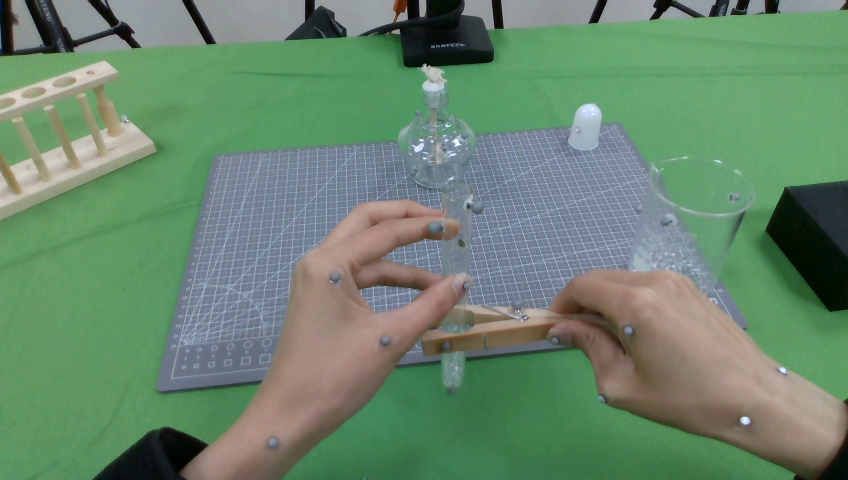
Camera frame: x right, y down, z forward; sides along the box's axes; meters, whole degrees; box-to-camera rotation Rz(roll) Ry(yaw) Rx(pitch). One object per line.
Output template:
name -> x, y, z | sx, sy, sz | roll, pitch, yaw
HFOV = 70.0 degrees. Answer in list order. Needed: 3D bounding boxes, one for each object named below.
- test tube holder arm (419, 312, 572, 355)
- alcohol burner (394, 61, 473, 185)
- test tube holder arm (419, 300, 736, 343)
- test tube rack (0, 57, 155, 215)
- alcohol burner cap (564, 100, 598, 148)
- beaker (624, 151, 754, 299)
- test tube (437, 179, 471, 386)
test tube holder arm -> 0.041, 0.052, 0.348 | 0.088, 0.015, 0.010 | -9, 42, -6
alcohol burner -> 0.008, -0.114, 0.582 | 0.078, 0.120, 0.077 | -2, 42, 2
test tube holder arm -> 0.086, 0.047, 0.351 | 0.178, 0.015, 0.013 | 2, 43, 6
test tube rack -> -0.404, -0.088, 0.588 | 0.242, 0.086, 0.066 | -33, 52, -29
alcohol burner cap -> 0.168, -0.126, 0.644 | 0.034, 0.048, 0.033 | 0, 44, 1
beaker -> 0.200, -0.010, 0.480 | 0.074, 0.101, 0.083 | -27, 48, -24
test tube -> 0.016, 0.032, 0.341 | 0.017, 0.151, 0.017 | 0, 39, 1
